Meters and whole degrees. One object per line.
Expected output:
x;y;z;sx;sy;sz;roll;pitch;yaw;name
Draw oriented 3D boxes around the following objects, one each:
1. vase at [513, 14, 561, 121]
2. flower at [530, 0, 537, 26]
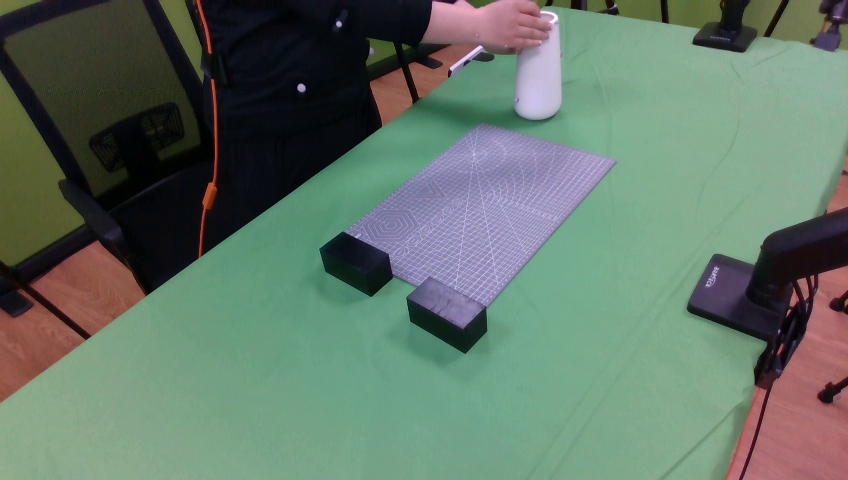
0.225;-0.336;1.197;0.098;0.201;0.097;-5;42;5;vase
0.201;-0.405;1.114;0.038;0.363;0.044;-1;57;1;flower
